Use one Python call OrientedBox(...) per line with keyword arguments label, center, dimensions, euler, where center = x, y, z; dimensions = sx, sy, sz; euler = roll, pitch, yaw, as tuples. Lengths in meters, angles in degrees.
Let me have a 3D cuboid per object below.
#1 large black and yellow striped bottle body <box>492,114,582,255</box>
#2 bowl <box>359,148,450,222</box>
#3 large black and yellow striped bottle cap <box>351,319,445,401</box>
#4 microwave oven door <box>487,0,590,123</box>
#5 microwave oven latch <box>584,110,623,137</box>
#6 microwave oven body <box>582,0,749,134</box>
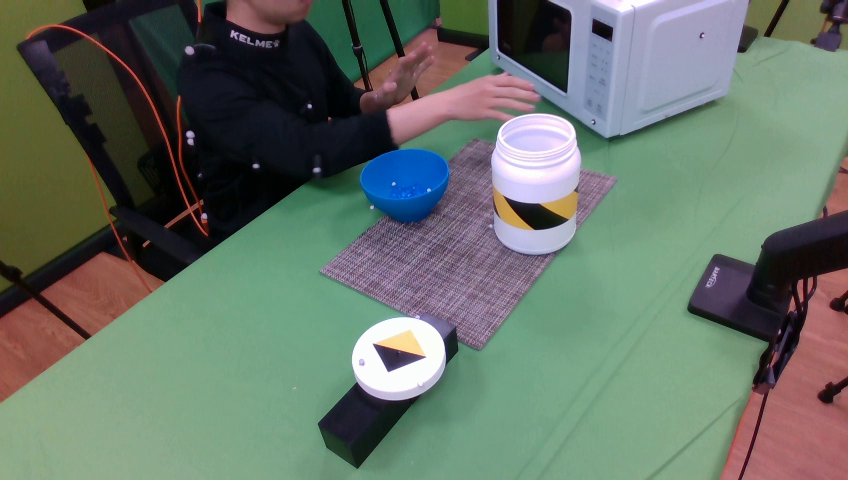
OrientedBox(label="large black and yellow striped bottle body", center=(0.169, -0.083, 0.912), dimensions=(0.131, 0.185, 0.130), euler=(-4, 41, 4))
OrientedBox(label="bowl", center=(-0.029, -0.083, 1.022), dimensions=(0.151, 0.077, 0.150), euler=(-4, 40, 4))
OrientedBox(label="large black and yellow striped bottle cap", center=(-0.031, 0.143, 0.735), dimensions=(0.115, 0.019, 0.114), euler=(-3, 40, 3))
OrientedBox(label="microwave oven door", center=(0.232, -0.420, 1.231), dimensions=(0.039, 0.245, 0.352), euler=(-22, 43, -16))
OrientedBox(label="microwave oven latch", center=(0.337, -0.222, 1.142), dimensions=(0.030, 0.029, 0.078), euler=(-21, 42, -14))
OrientedBox(label="microwave oven body", center=(0.382, -0.444, 1.246), dimensions=(0.327, 0.261, 0.437), euler=(-22, 42, -16))
